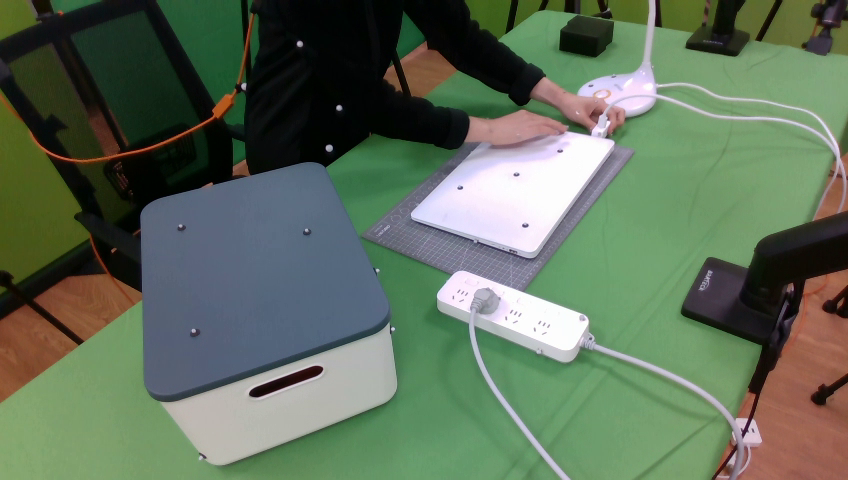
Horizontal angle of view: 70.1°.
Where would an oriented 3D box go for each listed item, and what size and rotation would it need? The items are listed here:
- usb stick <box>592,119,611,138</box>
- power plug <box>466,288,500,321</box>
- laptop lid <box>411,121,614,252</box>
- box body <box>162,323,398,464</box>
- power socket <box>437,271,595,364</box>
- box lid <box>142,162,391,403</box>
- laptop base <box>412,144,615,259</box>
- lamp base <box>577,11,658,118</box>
[{"bbox_3d":[0.334,-0.203,1.151,0.021,0.027,0.059,22,51,25],"label":"usb stick"},{"bbox_3d":[0.072,0.093,0.813,0.073,0.053,0.035,-37,49,-28],"label":"power plug"},{"bbox_3d":[0.164,-0.112,1.068,0.240,0.013,0.357,19,46,30],"label":"laptop lid"},{"bbox_3d":[-0.205,0.080,0.802,0.255,0.161,0.361,-18,41,-13],"label":"box body"},{"bbox_3d":[0.118,0.102,0.830,0.225,0.033,0.072,20,48,28],"label":"power socket"},{"bbox_3d":[-0.212,0.024,0.752,0.264,0.015,0.368,-17,41,-13],"label":"box lid"},{"bbox_3d":[0.167,-0.102,1.075,0.234,0.023,0.355,17,45,30],"label":"laptop base"},{"bbox_3d":[0.406,-0.363,1.222,0.180,0.181,0.159,-20,42,-18],"label":"lamp base"}]
